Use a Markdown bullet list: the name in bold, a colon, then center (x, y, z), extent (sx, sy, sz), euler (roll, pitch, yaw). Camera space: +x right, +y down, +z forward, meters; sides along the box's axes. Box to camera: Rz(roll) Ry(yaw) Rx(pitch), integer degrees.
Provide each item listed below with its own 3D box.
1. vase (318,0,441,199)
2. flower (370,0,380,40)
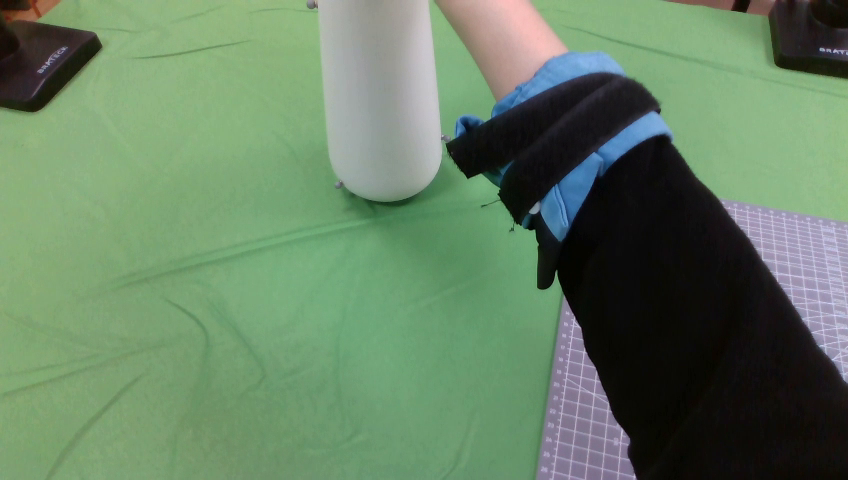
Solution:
- **vase**: center (-0.033, -0.124, 0.472), extent (0.098, 0.202, 0.097), euler (1, 52, -1)
- **flower**: center (-0.023, -0.232, 0.285), extent (0.044, 0.364, 0.038), euler (-4, 63, -7)
